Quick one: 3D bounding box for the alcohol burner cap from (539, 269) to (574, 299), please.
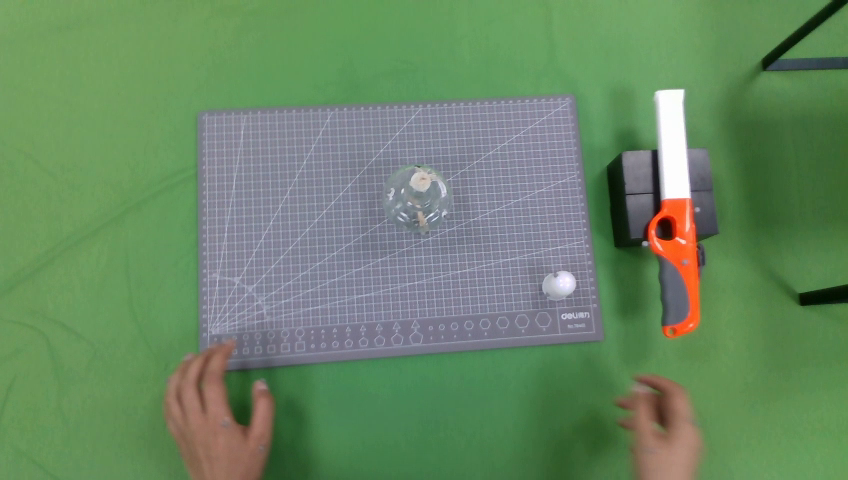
[{"bbox_3d":[0.150,0.048,0.679,0.034,0.048,0.033,1,79,-3],"label":"alcohol burner cap"}]

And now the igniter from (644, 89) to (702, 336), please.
[{"bbox_3d":[0.270,-0.034,0.664,0.057,0.025,0.275,-1,79,8],"label":"igniter"}]

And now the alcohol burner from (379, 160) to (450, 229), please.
[{"bbox_3d":[-0.009,-0.053,0.651,0.078,0.119,0.077,1,79,-5],"label":"alcohol burner"}]
